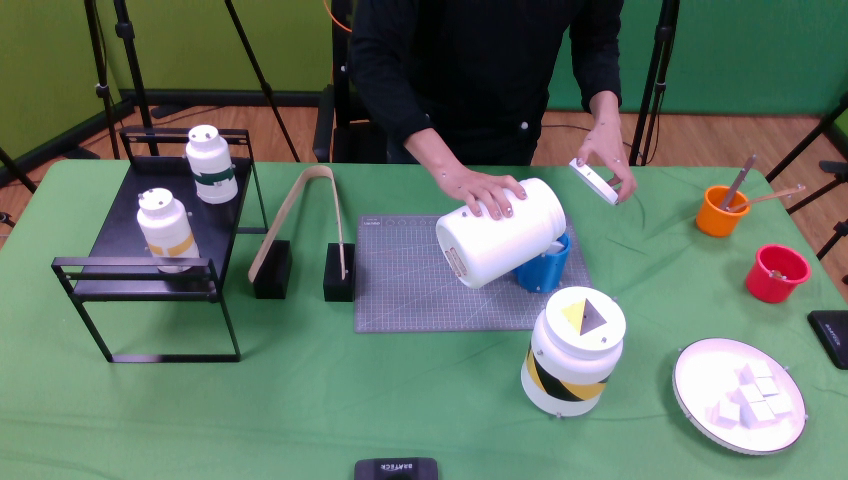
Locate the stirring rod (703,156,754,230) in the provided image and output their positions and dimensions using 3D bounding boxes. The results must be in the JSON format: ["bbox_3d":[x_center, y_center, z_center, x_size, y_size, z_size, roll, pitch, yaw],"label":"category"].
[{"bbox_3d":[0.631,-0.097,1.258,0.014,0.006,0.176,33,95,29],"label":"stirring rod"}]

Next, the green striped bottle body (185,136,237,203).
[{"bbox_3d":[-0.341,-0.121,0.968,0.063,0.120,0.063,2,46,-2],"label":"green striped bottle body"}]

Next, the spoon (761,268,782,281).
[{"bbox_3d":[0.638,0.060,1.105,0.041,0.021,0.194,38,11,24],"label":"spoon"}]

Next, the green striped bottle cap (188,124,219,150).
[{"bbox_3d":[-0.339,-0.158,0.931,0.044,0.020,0.044,3,46,-3],"label":"green striped bottle cap"}]

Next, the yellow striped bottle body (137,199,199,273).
[{"bbox_3d":[-0.366,-0.014,0.863,0.063,0.121,0.062,2,46,-2],"label":"yellow striped bottle body"}]

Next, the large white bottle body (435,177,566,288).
[{"bbox_3d":[0.127,-0.017,0.992,0.185,0.131,0.129,-27,53,-13],"label":"large white bottle body"}]

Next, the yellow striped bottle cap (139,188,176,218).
[{"bbox_3d":[-0.363,-0.050,0.826,0.044,0.019,0.044,1,47,0],"label":"yellow striped bottle cap"}]

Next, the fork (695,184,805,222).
[{"bbox_3d":[0.657,-0.075,1.230,0.207,0.019,0.028,-23,34,37],"label":"fork"}]

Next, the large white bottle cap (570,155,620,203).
[{"bbox_3d":[0.318,-0.114,1.131,0.018,0.115,0.114,-46,53,14],"label":"large white bottle cap"}]

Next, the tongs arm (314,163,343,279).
[{"bbox_3d":[-0.188,-0.049,1.170,0.051,0.026,0.382,-5,35,-6],"label":"tongs arm"}]

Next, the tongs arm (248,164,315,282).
[{"bbox_3d":[-0.270,-0.047,1.165,0.028,0.028,0.385,-1,34,7],"label":"tongs arm"}]

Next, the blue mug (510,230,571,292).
[{"bbox_3d":[0.203,0.031,1.121,0.116,0.106,0.082,5,46,0],"label":"blue mug"}]

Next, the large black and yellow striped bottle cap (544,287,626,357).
[{"bbox_3d":[0.232,0.116,0.876,0.115,0.019,0.114,2,46,-1],"label":"large black and yellow striped bottle cap"}]

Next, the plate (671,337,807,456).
[{"bbox_3d":[0.504,0.254,0.984,0.208,0.039,0.206,2,46,-2],"label":"plate"}]

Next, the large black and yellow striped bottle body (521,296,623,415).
[{"bbox_3d":[0.228,0.173,0.938,0.131,0.185,0.130,2,47,-2],"label":"large black and yellow striped bottle body"}]
